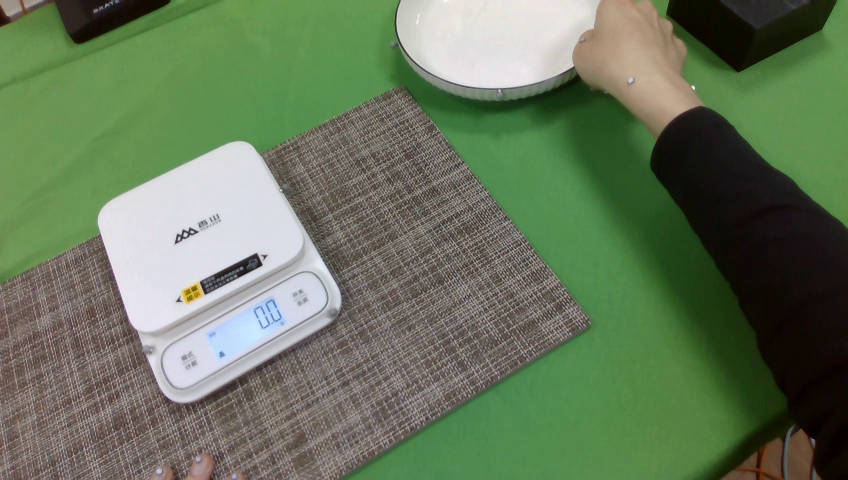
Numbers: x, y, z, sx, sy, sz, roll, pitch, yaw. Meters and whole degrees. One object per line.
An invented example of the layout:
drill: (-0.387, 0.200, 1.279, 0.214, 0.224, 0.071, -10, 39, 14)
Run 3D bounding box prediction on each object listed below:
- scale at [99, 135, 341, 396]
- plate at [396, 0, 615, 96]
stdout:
scale: (-0.171, 0.011, 0.496, 0.149, 0.032, 0.199, -30, 61, -9)
plate: (0.077, -0.215, 0.594, 0.207, 0.039, 0.206, -3, 60, 6)
